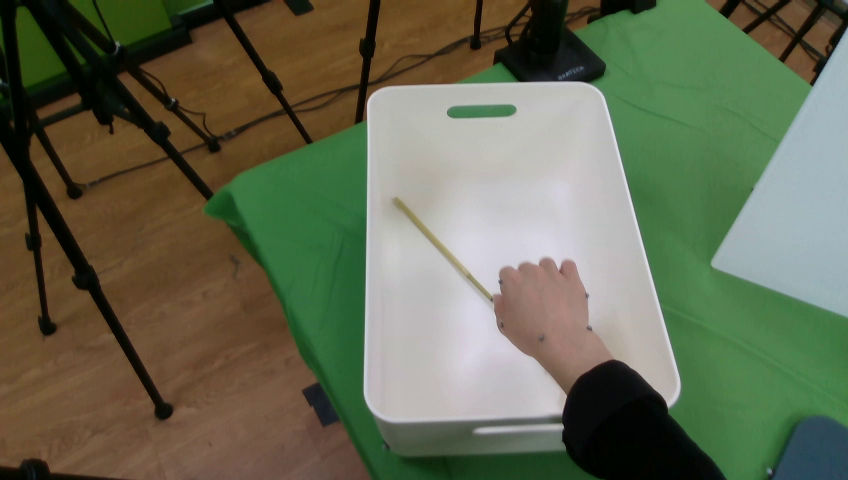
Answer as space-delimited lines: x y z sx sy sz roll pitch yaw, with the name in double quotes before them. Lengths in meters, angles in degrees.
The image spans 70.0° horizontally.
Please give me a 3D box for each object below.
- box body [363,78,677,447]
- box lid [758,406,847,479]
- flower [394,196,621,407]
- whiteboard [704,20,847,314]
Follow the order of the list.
"box body" 0.071 0.020 0.630 0.254 0.161 0.360 -2 59 -2
"box lid" 0.386 0.351 0.521 0.261 0.015 0.370 34 64 18
"flower" 0.074 0.057 0.687 0.044 0.038 0.358 -49 62 6
"whiteboard" 0.483 -0.089 0.655 0.216 0.308 0.143 22 42 13
